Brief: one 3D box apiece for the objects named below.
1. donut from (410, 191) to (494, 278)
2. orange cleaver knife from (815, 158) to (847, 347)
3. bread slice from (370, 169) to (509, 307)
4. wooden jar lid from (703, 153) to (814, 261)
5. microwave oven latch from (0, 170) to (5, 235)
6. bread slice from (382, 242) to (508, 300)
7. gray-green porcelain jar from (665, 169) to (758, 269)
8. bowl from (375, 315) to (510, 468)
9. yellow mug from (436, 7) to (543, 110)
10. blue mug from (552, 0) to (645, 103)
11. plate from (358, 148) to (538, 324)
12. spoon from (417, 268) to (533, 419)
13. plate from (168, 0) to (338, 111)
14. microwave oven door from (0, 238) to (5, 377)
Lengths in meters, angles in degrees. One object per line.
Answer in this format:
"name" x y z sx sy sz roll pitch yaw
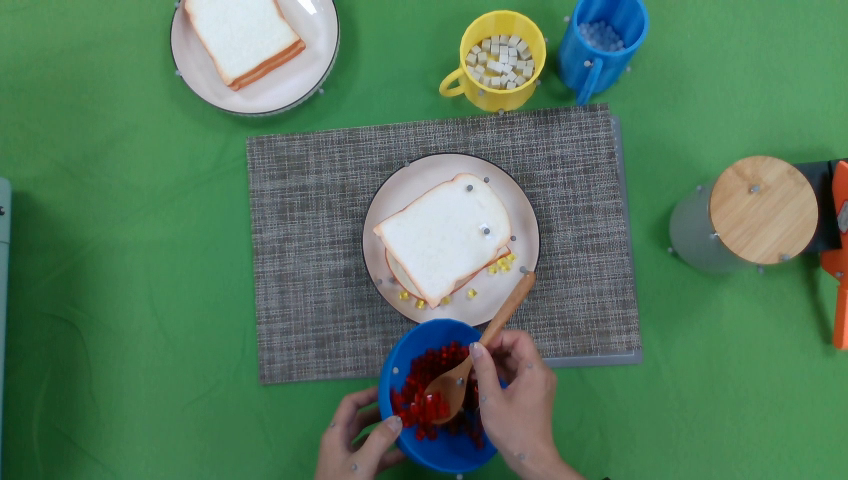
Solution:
"donut" 0.033 -0.006 0.682 0.099 0.048 0.098 3 80 -16
"orange cleaver knife" 0.464 0.016 0.679 0.012 0.076 0.212 -6 109 1
"bread slice" 0.023 -0.012 0.651 0.134 0.018 0.107 -40 90 -11
"wooden jar lid" 0.330 -0.032 0.603 0.108 0.021 0.108 0 85 -1
"microwave oven latch" -0.514 -0.046 0.711 0.030 0.029 0.079 1 84 1
"bread slice" 0.019 0.008 0.712 0.131 0.019 0.104 -37 82 -6
"gray-green porcelain jar" 0.332 -0.023 0.665 0.106 0.127 0.105 0 83 1
"bowl" 0.006 0.160 0.629 0.152 0.077 0.150 14 64 -29
"yellow mug" 0.074 -0.208 0.723 0.131 0.064 0.099 -25 82 0
"blue mug" 0.195 -0.217 0.702 0.082 0.106 0.116 16 84 4
"plate" 0.028 -0.003 0.709 0.209 0.038 0.208 0 83 1
"spoon" 0.052 0.105 0.605 0.041 0.022 0.194 39 112 14
"plate" -0.208 -0.256 0.749 0.207 0.039 0.207 0 83 1
"microwave oven door" -0.510 0.158 0.585 0.039 0.244 0.354 -3 83 1
